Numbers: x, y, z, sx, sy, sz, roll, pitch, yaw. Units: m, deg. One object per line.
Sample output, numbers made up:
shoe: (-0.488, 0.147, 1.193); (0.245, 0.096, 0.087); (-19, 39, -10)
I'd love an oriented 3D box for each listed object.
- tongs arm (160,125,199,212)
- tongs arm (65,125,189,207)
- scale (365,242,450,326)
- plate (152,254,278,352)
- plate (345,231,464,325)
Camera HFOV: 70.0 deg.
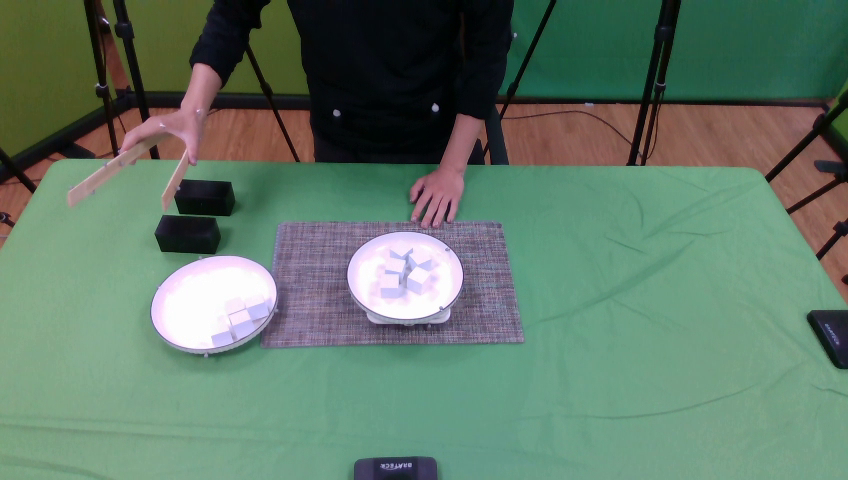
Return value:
tongs arm: (-0.422, -0.135, 1.050); (0.028, 0.028, 0.385); (-5, 27, -10)
tongs arm: (-0.493, -0.138, 1.042); (0.051, 0.026, 0.383); (3, 25, -3)
scale: (-0.032, 0.071, 1.113); (0.149, 0.032, 0.199); (0, 46, -4)
plate: (-0.357, 0.111, 1.052); (0.208, 0.039, 0.206); (2, 46, -2)
plate: (-0.034, 0.069, 1.069); (0.209, 0.038, 0.208); (2, 46, -2)
